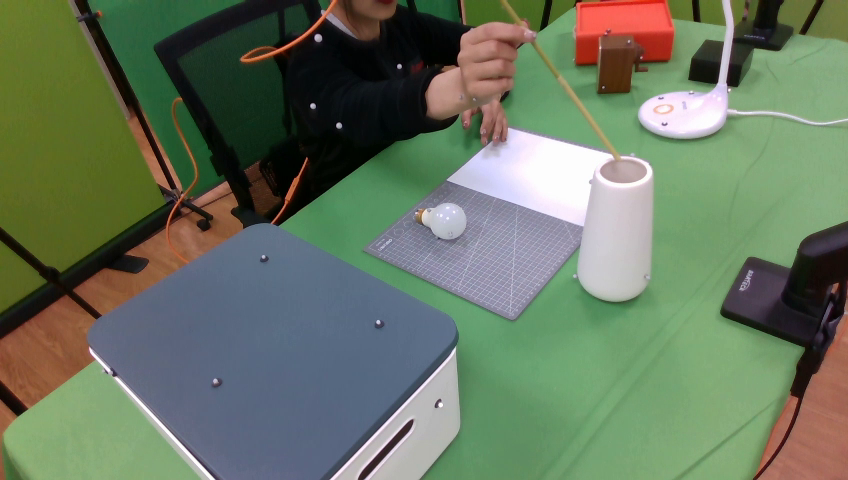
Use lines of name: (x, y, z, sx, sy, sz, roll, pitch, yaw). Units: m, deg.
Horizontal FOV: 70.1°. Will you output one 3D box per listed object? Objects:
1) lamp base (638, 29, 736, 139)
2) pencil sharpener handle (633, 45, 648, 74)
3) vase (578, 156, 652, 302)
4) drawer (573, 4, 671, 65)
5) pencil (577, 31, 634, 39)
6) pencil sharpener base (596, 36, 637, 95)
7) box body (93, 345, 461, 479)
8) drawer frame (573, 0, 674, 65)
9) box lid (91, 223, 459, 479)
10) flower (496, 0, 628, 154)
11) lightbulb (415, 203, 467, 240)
lamp base: (0.501, -0.302, 1.125, 0.179, 0.181, 0.160, -4, 40, 3)
pencil sharpener handle: (0.454, -0.378, 1.262, 0.030, 0.068, 0.036, 1, 46, 13)
vase: (0.261, -0.011, 0.812, 0.098, 0.201, 0.097, -4, 40, 4)
drawer: (0.461, -0.490, 1.434, 0.211, 0.073, 0.194, 2, 41, 12)
pencil: (0.431, -0.488, 1.443, 0.012, 0.012, 0.192, -25, 30, -18)
pencil sharpener base: (0.406, -0.369, 1.280, 0.076, 0.107, 0.061, 1, 41, 13)
box body: (-0.162, 0.170, 0.708, 0.361, 0.161, 0.255, 25, 50, 34)
drawer frame: (0.464, -0.492, 1.434, 0.213, 0.083, 0.201, 1, 40, 12)
box lid: (-0.174, 0.102, 0.666, 0.368, 0.015, 0.264, 24, 48, 35)
flower: (0.127, -0.208, 0.665, 0.044, 0.364, 0.038, -24, 39, 41)
lightbulb: (0.024, -0.034, 0.999, 0.060, 0.060, 0.107, -38, 32, -30)
